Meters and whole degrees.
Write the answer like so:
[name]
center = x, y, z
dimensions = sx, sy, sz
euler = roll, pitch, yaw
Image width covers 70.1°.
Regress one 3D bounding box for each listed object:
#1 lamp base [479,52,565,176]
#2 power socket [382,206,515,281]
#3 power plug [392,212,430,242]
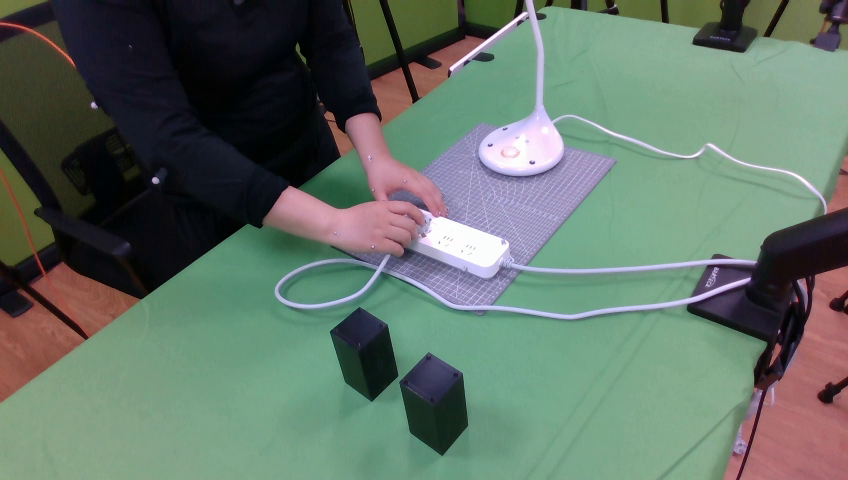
[lamp base]
center = 0.181, -0.235, 1.093
dimensions = 0.159, 0.181, 0.179
euler = 18, 44, 27
[power socket]
center = 0.031, 0.002, 0.950
dimensions = 0.225, 0.033, 0.072
euler = 21, 49, 29
[power plug]
center = -0.023, -0.015, 0.927
dimensions = 0.072, 0.053, 0.035
euler = -39, 48, -12
